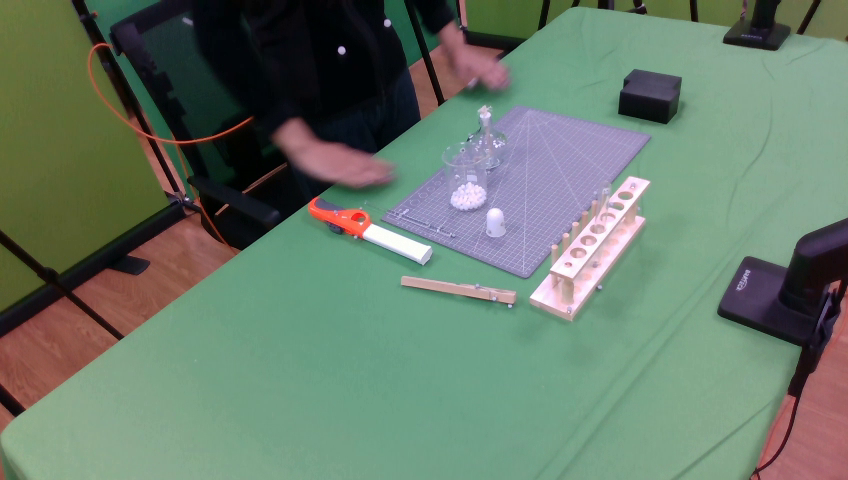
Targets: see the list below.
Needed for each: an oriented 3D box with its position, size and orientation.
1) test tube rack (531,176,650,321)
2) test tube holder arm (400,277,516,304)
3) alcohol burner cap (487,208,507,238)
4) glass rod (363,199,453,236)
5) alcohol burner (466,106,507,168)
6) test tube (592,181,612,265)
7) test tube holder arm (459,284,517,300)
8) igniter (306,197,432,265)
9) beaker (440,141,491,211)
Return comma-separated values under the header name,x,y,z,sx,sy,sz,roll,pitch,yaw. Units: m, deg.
name,x,y,z,sx,sy,sz,roll,pitch,yaw
test tube rack,0.246,0.002,0.884,0.066,0.085,0.243,22,49,32
test tube holder arm,0.047,0.073,0.887,0.177,0.015,0.013,7,10,19
alcohol burner cap,0.116,-0.030,0.975,0.034,0.048,0.033,-6,40,5
glass rod,-0.031,-0.041,1.041,0.198,0.008,0.008,22,50,31
alcohol burner,0.115,-0.193,1.112,0.078,0.119,0.077,-4,41,4
test tube,0.245,-0.020,0.833,0.017,0.151,0.017,-5,45,5
test tube holder arm,0.091,0.077,0.877,0.087,0.015,0.010,8,10,20
igniter,-0.102,-0.020,1.019,0.274,0.025,0.057,23,59,32
beaker,0.074,-0.106,1.028,0.084,0.101,0.073,-1,41,8
